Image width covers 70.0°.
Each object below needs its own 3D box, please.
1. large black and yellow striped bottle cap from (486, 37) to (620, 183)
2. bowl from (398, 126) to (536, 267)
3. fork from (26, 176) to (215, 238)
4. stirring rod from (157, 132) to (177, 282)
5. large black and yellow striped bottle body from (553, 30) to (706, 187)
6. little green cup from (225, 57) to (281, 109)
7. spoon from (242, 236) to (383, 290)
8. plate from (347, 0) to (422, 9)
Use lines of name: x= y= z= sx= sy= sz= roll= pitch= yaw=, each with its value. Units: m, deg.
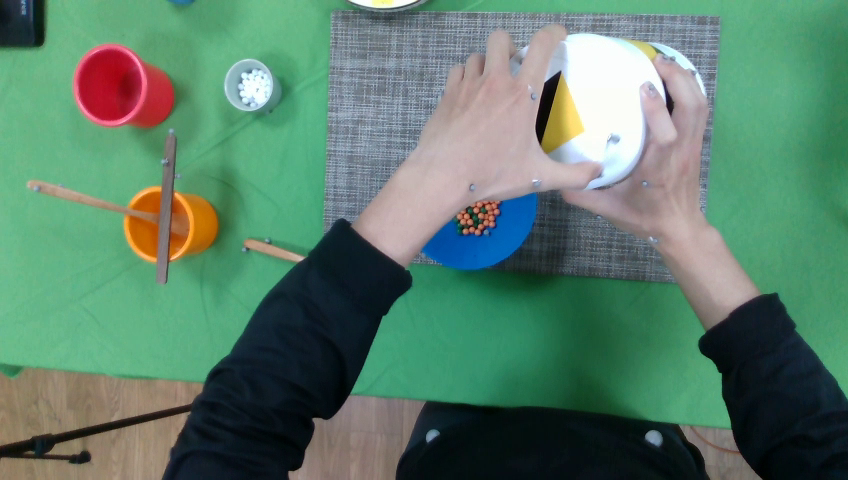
large black and yellow striped bottle cap: x=0.100 y=-0.103 z=0.488 sx=0.114 sy=0.019 sz=0.115 roll=13 pitch=111 yaw=40
bowl: x=0.051 y=-0.048 z=0.690 sx=0.151 sy=0.077 sz=0.151 roll=1 pitch=94 yaw=9
fork: x=-0.353 y=-0.039 z=0.720 sx=0.209 sy=0.018 sz=0.028 roll=18 pitch=101 yaw=-36
stirring rod: x=-0.301 y=-0.038 z=0.709 sx=0.014 sy=0.006 sz=0.176 roll=6 pitch=95 yaw=7
large black and yellow striped bottle body: x=0.159 y=-0.118 z=0.548 sx=0.129 sy=0.184 sz=0.131 roll=13 pitch=110 yaw=41
little green cup: x=-0.208 y=-0.189 z=0.743 sx=0.061 sy=0.038 sz=0.061 roll=1 pitch=94 yaw=10
spoon: x=-0.141 y=0.022 z=0.756 sx=0.193 sy=0.021 sz=0.042 roll=15 pitch=109 yaw=7
plate: x=-0.041 y=-0.372 z=0.706 sx=0.209 sy=0.038 sz=0.209 roll=1 pitch=94 yaw=8
